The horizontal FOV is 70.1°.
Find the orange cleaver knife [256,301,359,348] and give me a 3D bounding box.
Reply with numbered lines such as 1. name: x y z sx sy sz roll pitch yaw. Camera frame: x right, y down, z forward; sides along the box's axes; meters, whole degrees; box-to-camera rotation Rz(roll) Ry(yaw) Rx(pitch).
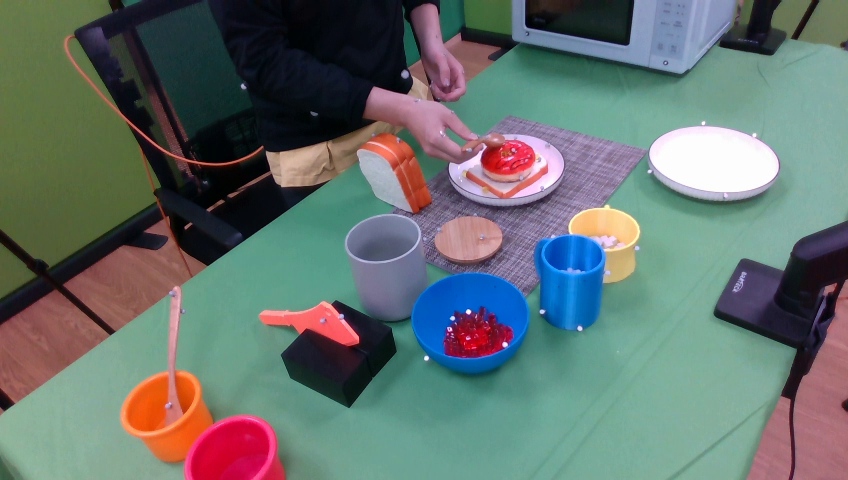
1. orange cleaver knife: -0.160 0.115 0.813 0.210 0.077 0.012 -9 29 48

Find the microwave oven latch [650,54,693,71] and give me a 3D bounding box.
1. microwave oven latch: 0.531 -0.386 1.301 0.078 0.029 0.030 26 51 33

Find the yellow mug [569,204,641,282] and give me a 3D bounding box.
1. yellow mug: 0.268 -0.005 0.904 0.099 0.064 0.130 7 42 15

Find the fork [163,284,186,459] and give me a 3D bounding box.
1. fork: -0.302 0.157 0.733 0.028 0.019 0.207 -4 84 16

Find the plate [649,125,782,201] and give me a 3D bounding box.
1. plate: 0.493 -0.127 1.036 0.207 0.039 0.206 -4 41 4

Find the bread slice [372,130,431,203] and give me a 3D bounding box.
1. bread slice: -0.042 -0.127 1.039 0.106 0.135 0.018 30 62 33

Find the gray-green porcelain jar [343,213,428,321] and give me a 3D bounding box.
1. gray-green porcelain jar: -0.049 0.042 0.849 0.106 0.127 0.105 -4 41 4

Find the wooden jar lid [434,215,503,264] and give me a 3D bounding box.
1. wooden jar lid: 0.070 0.001 0.956 0.108 0.021 0.108 -4 40 4

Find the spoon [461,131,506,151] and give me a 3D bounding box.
1. spoon: 0.093 -0.161 0.980 0.041 0.021 0.194 13 17 20

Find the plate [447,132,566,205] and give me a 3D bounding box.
1. plate: 0.146 -0.124 1.076 0.209 0.038 0.208 -3 41 3

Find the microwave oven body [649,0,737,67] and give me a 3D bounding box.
1. microwave oven body: 0.475 -0.602 1.411 0.438 0.261 0.327 23 50 32

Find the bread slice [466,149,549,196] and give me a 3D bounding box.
1. bread slice: 0.156 -0.129 1.084 0.132 0.019 0.104 -34 48 -23

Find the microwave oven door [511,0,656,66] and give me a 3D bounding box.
1. microwave oven door: 0.351 -0.540 1.349 0.353 0.245 0.039 24 50 31

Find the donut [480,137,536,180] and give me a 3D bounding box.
1. donut: 0.146 -0.144 1.056 0.099 0.048 0.098 -4 42 4

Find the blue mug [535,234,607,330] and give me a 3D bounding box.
1. blue mug: 0.191 0.048 0.824 0.082 0.106 0.115 -26 44 -20

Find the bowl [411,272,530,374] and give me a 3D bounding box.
1. bowl: 0.062 0.120 0.780 0.151 0.077 0.150 -4 40 4
